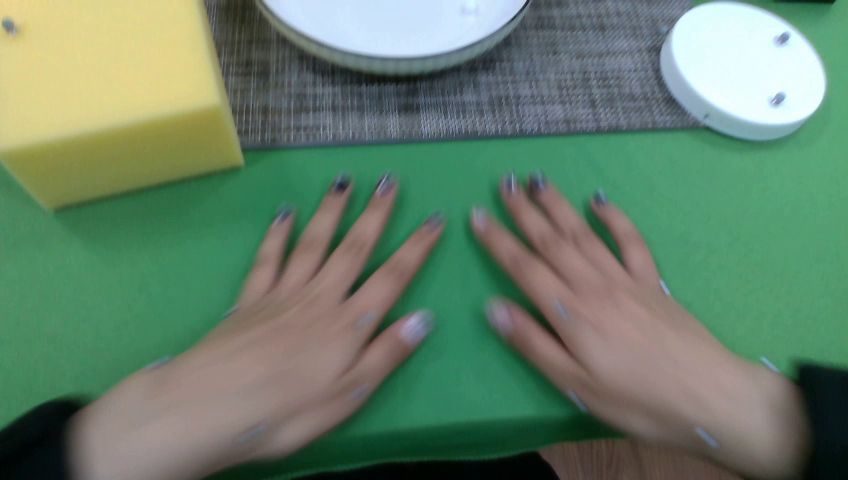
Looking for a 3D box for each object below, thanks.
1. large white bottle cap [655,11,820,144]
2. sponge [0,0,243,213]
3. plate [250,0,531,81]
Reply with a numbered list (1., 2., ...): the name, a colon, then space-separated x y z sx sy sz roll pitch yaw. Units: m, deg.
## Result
1. large white bottle cap: 0.226 -0.120 0.438 0.115 0.018 0.114 3 63 -5
2. sponge: -0.200 -0.129 0.386 0.118 0.061 0.205 -16 65 -12
3. plate: -0.024 -0.192 0.444 0.209 0.038 0.207 2 62 -3
